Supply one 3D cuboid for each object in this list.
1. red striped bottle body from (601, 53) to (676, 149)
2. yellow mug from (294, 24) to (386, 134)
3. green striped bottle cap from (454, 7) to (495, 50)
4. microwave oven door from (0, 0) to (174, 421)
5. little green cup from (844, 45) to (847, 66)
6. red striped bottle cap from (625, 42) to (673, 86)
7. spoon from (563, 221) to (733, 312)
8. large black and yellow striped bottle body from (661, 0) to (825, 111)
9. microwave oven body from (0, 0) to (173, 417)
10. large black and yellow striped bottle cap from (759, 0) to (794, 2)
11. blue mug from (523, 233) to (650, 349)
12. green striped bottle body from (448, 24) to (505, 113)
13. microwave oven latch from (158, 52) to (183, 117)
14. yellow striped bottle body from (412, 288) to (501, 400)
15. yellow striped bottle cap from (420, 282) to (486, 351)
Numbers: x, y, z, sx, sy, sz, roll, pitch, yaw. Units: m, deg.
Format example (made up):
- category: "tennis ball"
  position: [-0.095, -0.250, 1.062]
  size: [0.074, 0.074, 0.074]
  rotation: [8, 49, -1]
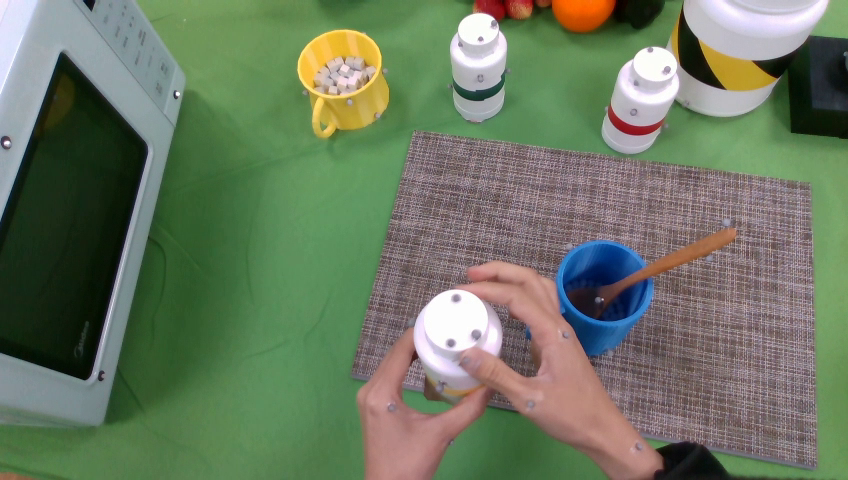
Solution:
- category: "red striped bottle body"
  position: [0.232, -0.156, 0.656]
  size: [0.063, 0.120, 0.062]
  rotation: [-3, 65, 6]
- category: "yellow mug"
  position: [-0.105, -0.186, 0.727]
  size: [0.099, 0.064, 0.130]
  rotation: [19, 71, 12]
- category: "green striped bottle cap"
  position: [0.053, -0.225, 0.643]
  size: [0.044, 0.020, 0.044]
  rotation: [-1, 67, 3]
- category: "microwave oven door"
  position: [-0.339, -0.028, 0.565]
  size: [0.039, 0.245, 0.353]
  rotation: [0, 67, 6]
- category: "little green cup"
  position: [0.484, -0.205, 0.644]
  size: [0.061, 0.039, 0.061]
  rotation: [-1, 66, 2]
- category: "red striped bottle cap"
  position: [0.226, -0.177, 0.609]
  size: [0.044, 0.018, 0.044]
  rotation: [0, 67, 1]
- category: "spoon"
  position: [0.185, 0.030, 0.540]
  size: [0.022, 0.194, 0.041]
  rotation: [8, 61, -30]
- category: "large black and yellow striped bottle body"
  position: [0.338, -0.242, 0.649]
  size: [0.131, 0.185, 0.130]
  rotation: [-2, 67, 5]
- category: "microwave oven body"
  position: [-0.482, -0.066, 0.599]
  size: [0.326, 0.262, 0.438]
  rotation: [1, 68, 5]
- category: "large black and yellow striped bottle cap"
  position: [0.329, -0.274, 0.571]
  size: [0.115, 0.019, 0.114]
  rotation: [-2, 66, 5]
- category: "blue mug"
  position: [0.146, 0.059, 0.578]
  size: [0.116, 0.106, 0.081]
  rotation: [-25, 67, -6]
- category: "green striped bottle body"
  position: [0.059, -0.204, 0.691]
  size: [0.063, 0.120, 0.062]
  rotation: [-2, 67, 4]
- category: "microwave oven latch"
  position: [-0.318, -0.190, 0.742]
  size: [0.030, 0.030, 0.078]
  rotation: [2, 68, 5]
- category: "yellow striped bottle body"
  position: [0.026, 0.075, 0.451]
  size: [0.063, 0.121, 0.062]
  rotation: [-2, 63, 5]
- category: "yellow striped bottle cap"
  position: [0.019, 0.051, 0.403]
  size: [0.044, 0.019, 0.044]
  rotation: [0, 64, 1]
